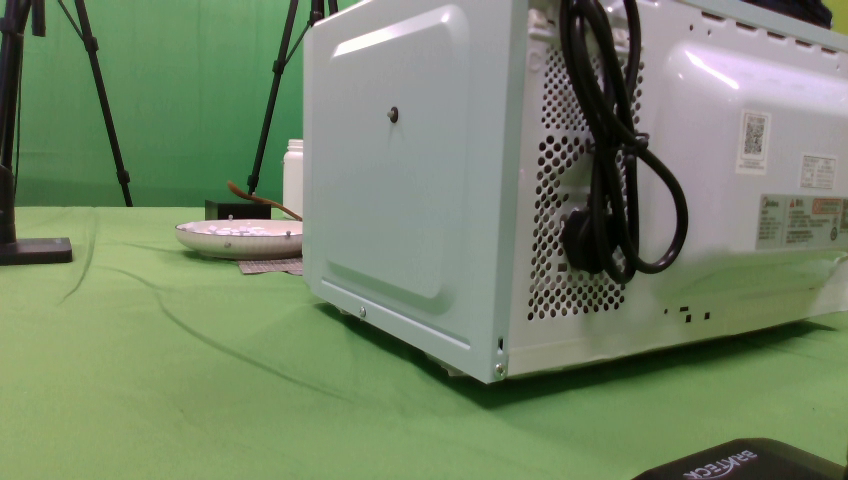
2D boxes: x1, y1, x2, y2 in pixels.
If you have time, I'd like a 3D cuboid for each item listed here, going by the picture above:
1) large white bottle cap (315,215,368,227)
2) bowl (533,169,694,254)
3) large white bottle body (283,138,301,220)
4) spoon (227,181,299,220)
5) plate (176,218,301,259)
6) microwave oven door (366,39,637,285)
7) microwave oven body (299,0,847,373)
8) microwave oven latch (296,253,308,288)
[{"bbox_3d":[-0.177,-0.041,1.309,0.115,0.018,0.115,2,6,0],"label":"large white bottle cap"},{"bbox_3d":[0.181,-0.030,0.595,0.151,0.077,0.151,2,7,0],"label":"bowl"},{"bbox_3d":[-0.265,-0.143,1.423,0.131,0.184,0.130,2,7,0],"label":"large white bottle body"},{"bbox_3d":[-0.315,-0.074,1.235,0.195,0.021,0.041,24,-10,-37],"label":"spoon"},{"bbox_3d":[-0.248,-0.003,0.877,0.209,0.038,0.209,1,8,0],"label":"plate"},{"bbox_3d":[0.106,-0.081,0.693,0.358,0.243,0.039,-2,9,-30],"label":"microwave oven door"},{"bbox_3d":[0.152,-0.055,0.542,0.444,0.260,0.324,-2,7,-33],"label":"microwave oven body"},{"bbox_3d":[-0.081,0.028,0.576,0.079,0.029,0.030,0,6,-19],"label":"microwave oven latch"}]
